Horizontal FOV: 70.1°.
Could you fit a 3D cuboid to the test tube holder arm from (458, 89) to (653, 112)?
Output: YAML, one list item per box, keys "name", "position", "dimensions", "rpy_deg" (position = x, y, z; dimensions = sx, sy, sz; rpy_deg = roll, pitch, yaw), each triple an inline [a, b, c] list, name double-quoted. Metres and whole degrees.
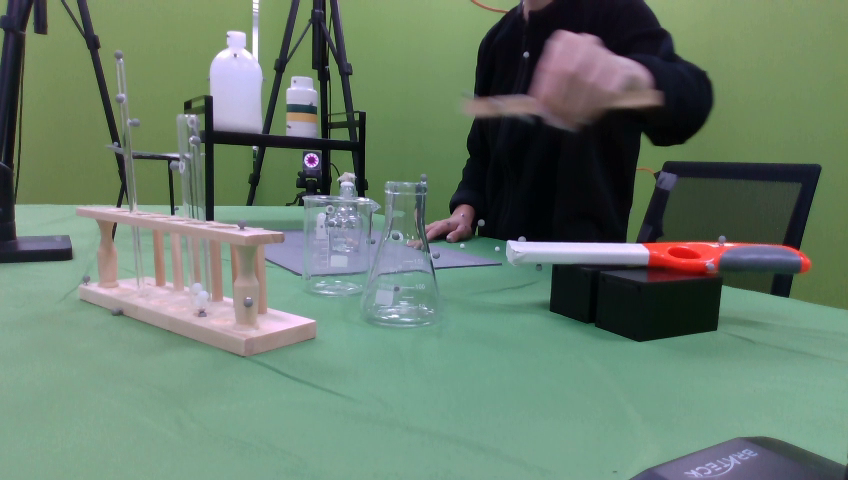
- name: "test tube holder arm"
  position: [0.118, -0.124, 0.537]
  dimensions: [0.179, 0.015, 0.013]
  rpy_deg: [-4, 9, -7]

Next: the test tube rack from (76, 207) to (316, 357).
- name: "test tube rack"
  position: [-0.196, 0.023, 0.499]
  dimensions: [0.241, 0.085, 0.067]
  rpy_deg: [8, 9, 36]

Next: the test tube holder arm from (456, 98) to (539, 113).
- name: "test tube holder arm"
  position: [0.072, -0.122, 0.537]
  dimensions: [0.088, 0.015, 0.010]
  rpy_deg: [-4, 9, -6]

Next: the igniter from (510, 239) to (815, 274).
- name: "igniter"
  position: [0.220, 0.015, 0.565]
  dimensions: [0.277, 0.025, 0.057]
  rpy_deg: [2, 16, -1]

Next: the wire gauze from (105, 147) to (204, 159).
- name: "wire gauze"
  position: [-0.408, -0.131, 0.928]
  dimensions: [0.125, 0.011, 0.121]
  rpy_deg: [2, 6, -11]

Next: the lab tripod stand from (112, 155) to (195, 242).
- name: "lab tripod stand"
  position: [-0.405, -0.064, 0.931]
  dimensions: [0.148, 0.131, 0.148]
  rpy_deg: [1, 6, 0]

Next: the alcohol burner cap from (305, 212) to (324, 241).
- name: "alcohol burner cap"
  position: [-0.185, -0.023, 1.027]
  dimensions: [0.034, 0.048, 0.034]
  rpy_deg: [2, 6, 0]

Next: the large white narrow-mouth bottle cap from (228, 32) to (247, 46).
- name: "large white narrow-mouth bottle cap"
  position: [-0.364, -0.390, 1.180]
  dimensions: [0.038, 0.024, 0.037]
  rpy_deg: [3, 8, 0]

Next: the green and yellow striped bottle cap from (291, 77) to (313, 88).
- name: "green and yellow striped bottle cap"
  position: [-0.250, -0.321, 1.237]
  dimensions: [0.045, 0.020, 0.045]
  rpy_deg: [3, 5, 0]

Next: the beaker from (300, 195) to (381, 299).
- name: "beaker"
  position: [-0.087, 0.006, 0.626]
  dimensions: [0.084, 0.100, 0.074]
  rpy_deg: [1, 8, -17]

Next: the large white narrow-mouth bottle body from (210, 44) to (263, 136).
- name: "large white narrow-mouth bottle body"
  position: [-0.369, -0.305, 1.194]
  dimensions: [0.102, 0.194, 0.102]
  rpy_deg: [3, 8, 0]

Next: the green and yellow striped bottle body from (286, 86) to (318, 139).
- name: "green and yellow striped bottle body"
  position: [-0.251, -0.270, 1.245]
  dimensions: [0.063, 0.119, 0.063]
  rpy_deg: [2, 7, 0]

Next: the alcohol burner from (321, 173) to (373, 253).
- name: "alcohol burner"
  position: [-0.115, -0.041, 0.905]
  dimensions: [0.078, 0.119, 0.078]
  rpy_deg: [1, 6, 0]

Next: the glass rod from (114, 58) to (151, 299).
- name: "glass rod"
  position: [-0.236, -0.044, 0.492]
  dimensions: [0.008, 0.199, 0.008]
  rpy_deg: [0, 15, 0]

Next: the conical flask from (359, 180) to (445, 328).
- name: "conical flask"
  position: [-0.017, 0.010, 0.522]
  dimensions: [0.075, 0.122, 0.075]
  rpy_deg: [2, 7, 0]

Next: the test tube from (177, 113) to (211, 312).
- name: "test tube"
  position: [-0.174, -0.020, 0.458]
  dimensions: [0.017, 0.150, 0.017]
  rpy_deg: [-2, 5, 1]
